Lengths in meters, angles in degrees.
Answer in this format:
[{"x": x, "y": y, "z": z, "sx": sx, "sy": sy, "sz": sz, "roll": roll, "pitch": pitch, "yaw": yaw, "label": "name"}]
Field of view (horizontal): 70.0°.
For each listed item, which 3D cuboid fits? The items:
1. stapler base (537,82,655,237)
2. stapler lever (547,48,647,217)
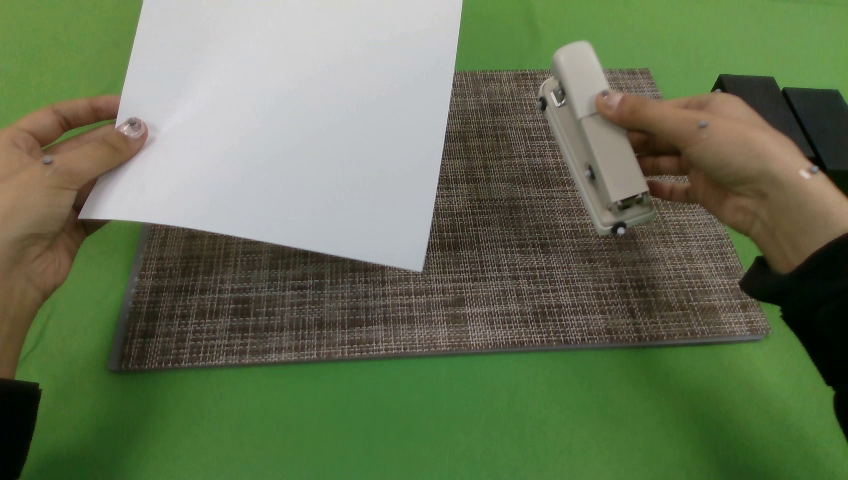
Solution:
[{"x": 0.117, "y": -0.067, "z": 0.423, "sx": 0.041, "sy": 0.024, "sz": 0.129, "roll": -21, "pitch": 68, "yaw": 6, "label": "stapler base"}, {"x": 0.113, "y": -0.075, "z": 0.400, "sx": 0.027, "sy": 0.040, "sz": 0.117, "roll": -21, "pitch": 67, "yaw": 7, "label": "stapler lever"}]
